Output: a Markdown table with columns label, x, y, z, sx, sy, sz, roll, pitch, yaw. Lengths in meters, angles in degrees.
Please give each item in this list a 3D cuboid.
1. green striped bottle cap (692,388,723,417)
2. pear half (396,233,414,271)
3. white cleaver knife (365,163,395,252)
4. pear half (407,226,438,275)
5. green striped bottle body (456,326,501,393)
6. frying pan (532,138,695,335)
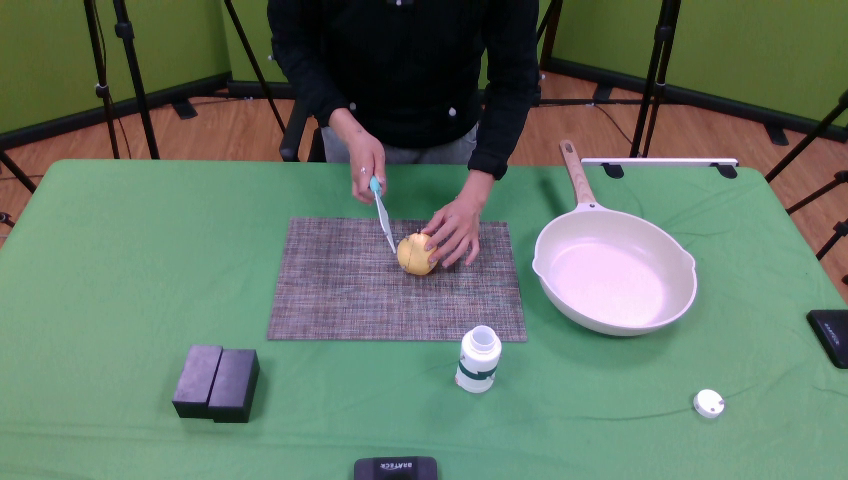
| label | x | y | z | sx | sy | sz | roll | pitch | yaw |
| --- | --- | --- | --- | --- | --- | --- | --- | --- | --- |
| green striped bottle cap | 0.460 | 0.263 | 0.984 | 0.044 | 0.020 | 0.044 | 3 | 46 | -3 |
| pear half | -0.037 | 0.018 | 1.126 | 0.031 | 0.088 | 0.070 | 5 | 49 | 0 |
| white cleaver knife | -0.080 | -0.063 | 1.080 | 0.021 | 0.066 | 0.284 | -21 | 30 | 3 |
| pear half | -0.001 | 0.015 | 1.117 | 0.056 | 0.110 | 0.076 | 5 | 49 | -1 |
| green striped bottle body | 0.086 | 0.185 | 0.959 | 0.063 | 0.120 | 0.063 | 2 | 46 | -2 |
| frying pan | 0.336 | -0.024 | 1.190 | 0.307 | 0.103 | 0.484 | -2 | 55 | -7 |
